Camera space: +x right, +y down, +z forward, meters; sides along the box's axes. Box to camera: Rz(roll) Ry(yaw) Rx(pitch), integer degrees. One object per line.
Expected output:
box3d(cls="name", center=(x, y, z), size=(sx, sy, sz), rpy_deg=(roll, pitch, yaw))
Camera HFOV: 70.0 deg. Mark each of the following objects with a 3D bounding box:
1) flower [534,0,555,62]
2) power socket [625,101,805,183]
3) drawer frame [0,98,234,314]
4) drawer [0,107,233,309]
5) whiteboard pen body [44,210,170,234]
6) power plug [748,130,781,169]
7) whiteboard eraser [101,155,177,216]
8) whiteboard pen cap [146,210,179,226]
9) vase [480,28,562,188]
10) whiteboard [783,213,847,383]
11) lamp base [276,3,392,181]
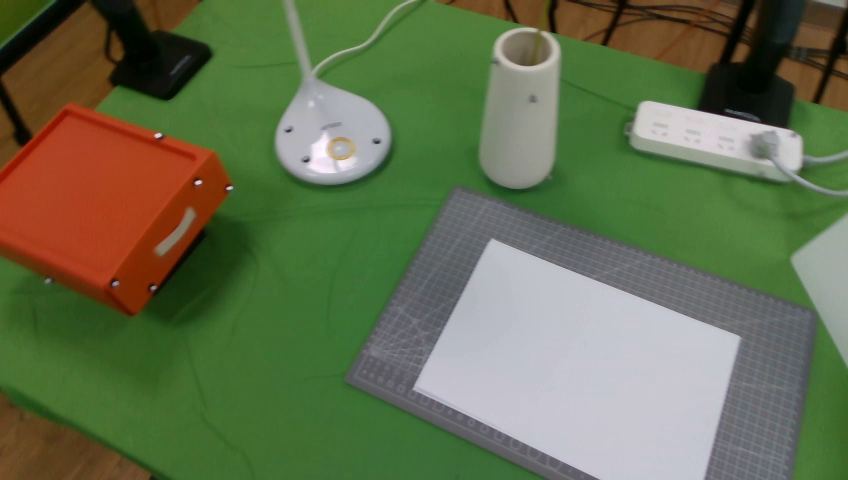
box3d(cls="flower", center=(0.128, -0.209, 0.670), size=(0.038, 0.364, 0.043), rpy_deg=(10, 41, 1))
box3d(cls="power socket", center=(0.385, -0.132, 0.805), size=(0.226, 0.033, 0.072), rpy_deg=(16, 61, 12))
box3d(cls="drawer frame", center=(-0.373, -0.045, 0.706), size=(0.213, 0.083, 0.200), rpy_deg=(20, 62, 13))
box3d(cls="drawer", center=(-0.367, -0.047, 0.702), size=(0.211, 0.074, 0.193), rpy_deg=(20, 62, 14))
box3d(cls="whiteboard pen body", center=(-0.367, -0.022, 0.704), size=(0.141, 0.017, 0.017), rpy_deg=(-7, 57, -3))
box3d(cls="power plug", center=(0.422, -0.107, 0.761), size=(0.035, 0.053, 0.072), rpy_deg=(25, 64, 18))
box3d(cls="whiteboard eraser", center=(-0.353, -0.066, 0.758), size=(0.112, 0.042, 0.055), rpy_deg=(-11, 63, 32))
box3d(cls="whiteboard pen cap", center=(-0.308, -0.026, 0.712), size=(0.033, 0.018, 0.018), rpy_deg=(-6, 57, -5))
box3d(cls="vase", center=(0.117, -0.153, 0.732), size=(0.098, 0.202, 0.097), rpy_deg=(-2, 57, 3))
box3d(cls="whiteboard", center=(0.553, 0.029, 0.572), size=(0.144, 0.307, 0.215), rpy_deg=(4, 55, -17))
box3d(cls="lamp base", center=(-0.134, -0.196, 0.781), size=(0.161, 0.182, 0.177), rpy_deg=(-27, 57, -14))
